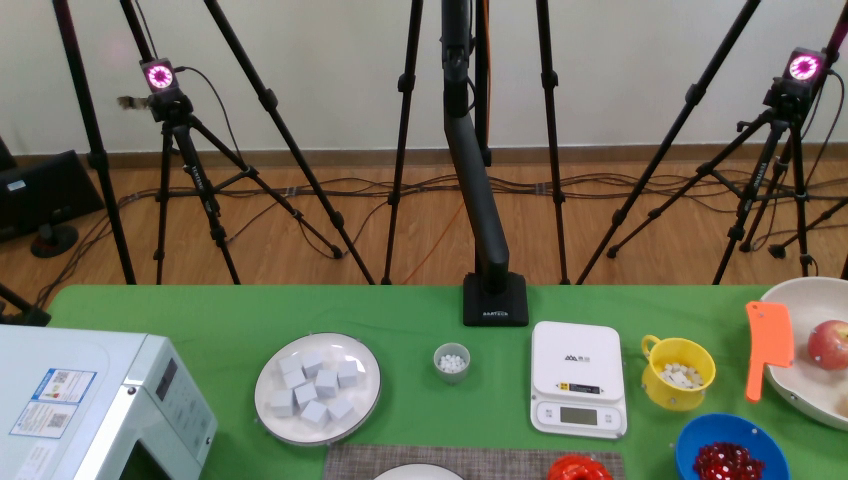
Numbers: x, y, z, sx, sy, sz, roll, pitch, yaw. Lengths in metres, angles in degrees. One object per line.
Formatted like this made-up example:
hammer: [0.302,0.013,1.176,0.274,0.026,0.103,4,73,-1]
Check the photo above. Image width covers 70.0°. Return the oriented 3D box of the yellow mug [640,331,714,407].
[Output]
yellow mug: [0.401,0.200,0.991,0.100,0.064,0.129,-24,48,-18]

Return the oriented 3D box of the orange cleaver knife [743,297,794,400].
orange cleaver knife: [0.545,0.168,0.961,0.077,0.012,0.210,14,49,18]

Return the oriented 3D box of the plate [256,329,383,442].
plate: [-0.170,0.242,1.009,0.207,0.039,0.205,-2,46,2]

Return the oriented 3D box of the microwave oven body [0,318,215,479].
microwave oven body: [-0.515,0.350,0.766,0.326,0.262,0.437,3,47,6]

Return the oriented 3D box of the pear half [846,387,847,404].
pear half: [0.681,0.232,0.905,0.075,0.111,0.056,28,55,32]

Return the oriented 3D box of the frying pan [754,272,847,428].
frying pan: [0.719,0.237,0.908,0.307,0.104,0.482,-20,40,-13]

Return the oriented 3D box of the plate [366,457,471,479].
plate: [-0.009,0.406,0.835,0.209,0.038,0.207,-2,46,3]

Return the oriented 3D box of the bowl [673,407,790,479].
bowl: [0.425,0.325,0.862,0.151,0.077,0.150,-2,47,2]

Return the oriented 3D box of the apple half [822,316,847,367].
apple half: [0.686,0.167,0.993,0.053,0.075,0.080,-4,42,-5]

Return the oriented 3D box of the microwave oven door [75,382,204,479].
microwave oven door: [-0.375,0.383,0.718,0.039,0.246,0.352,2,46,6]

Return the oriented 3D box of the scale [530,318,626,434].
scale: [0.253,0.220,1.006,0.148,0.032,0.199,3,47,8]

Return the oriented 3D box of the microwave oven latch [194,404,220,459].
microwave oven latch: [-0.344,0.296,0.941,0.030,0.030,0.078,4,47,7]

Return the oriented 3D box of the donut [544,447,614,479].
donut: [0.222,0.347,0.871,0.099,0.049,0.098,-3,46,4]

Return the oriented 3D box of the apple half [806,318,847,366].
apple half: [0.648,0.171,0.990,0.033,0.082,0.080,-4,46,-5]

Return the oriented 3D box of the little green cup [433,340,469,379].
little green cup: [0.047,0.205,1.030,0.061,0.039,0.061,-2,46,2]
